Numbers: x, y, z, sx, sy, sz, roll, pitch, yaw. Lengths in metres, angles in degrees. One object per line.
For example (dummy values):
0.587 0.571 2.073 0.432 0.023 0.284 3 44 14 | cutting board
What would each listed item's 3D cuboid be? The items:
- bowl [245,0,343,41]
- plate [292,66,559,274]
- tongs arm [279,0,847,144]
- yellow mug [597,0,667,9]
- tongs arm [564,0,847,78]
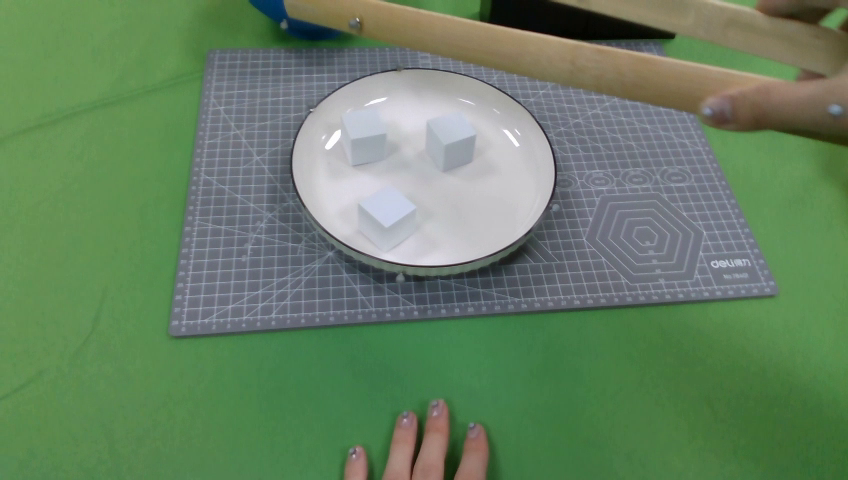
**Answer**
-0.111 -0.248 0.587 0.151 0.077 0.150 1 56 -2 | bowl
0.002 -0.058 0.488 0.208 0.039 0.205 2 56 -2 | plate
0.063 -0.108 0.338 0.385 0.028 0.028 21 45 26 | tongs arm
0.184 -0.273 0.570 0.131 0.064 0.099 -17 59 -13 | yellow mug
0.106 -0.146 0.373 0.381 0.027 0.050 29 52 31 | tongs arm
